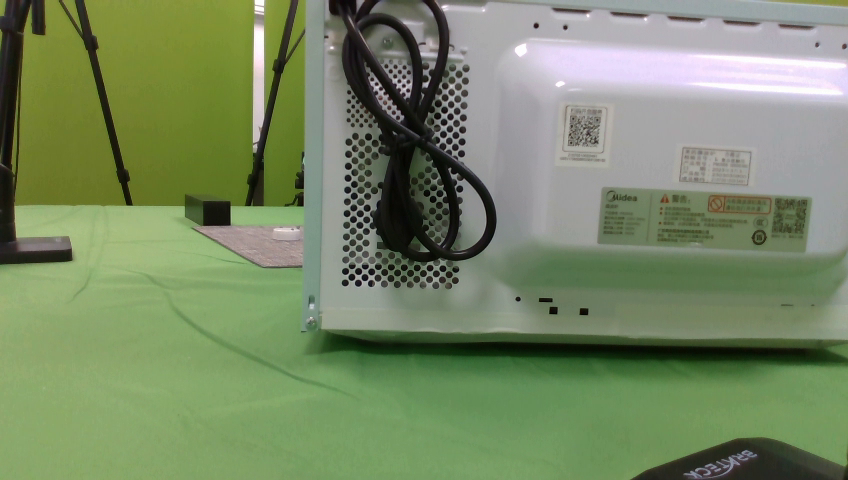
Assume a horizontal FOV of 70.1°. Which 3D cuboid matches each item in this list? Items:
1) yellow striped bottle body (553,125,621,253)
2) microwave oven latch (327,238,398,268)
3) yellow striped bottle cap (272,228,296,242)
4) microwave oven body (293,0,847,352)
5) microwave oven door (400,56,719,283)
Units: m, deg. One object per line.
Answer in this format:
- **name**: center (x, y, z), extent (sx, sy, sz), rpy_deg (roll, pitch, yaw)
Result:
- **yellow striped bottle body**: center (0.158, -0.050, 0.587), extent (0.063, 0.120, 0.063), rpy_deg (0, 6, 0)
- **microwave oven latch**: center (-0.069, 0.015, 0.694), extent (0.079, 0.029, 0.030), rpy_deg (3, 7, -3)
- **yellow striped bottle cap**: center (-0.232, -0.008, 1.012), extent (0.044, 0.018, 0.044), rpy_deg (3, 9, 0)
- **microwave oven body**: center (0.122, -0.055, 0.550), extent (0.442, 0.260, 0.325), rpy_deg (3, 7, -5)
- **microwave oven door**: center (0.155, -0.078, 0.698), extent (0.356, 0.243, 0.039), rpy_deg (2, 8, -5)
